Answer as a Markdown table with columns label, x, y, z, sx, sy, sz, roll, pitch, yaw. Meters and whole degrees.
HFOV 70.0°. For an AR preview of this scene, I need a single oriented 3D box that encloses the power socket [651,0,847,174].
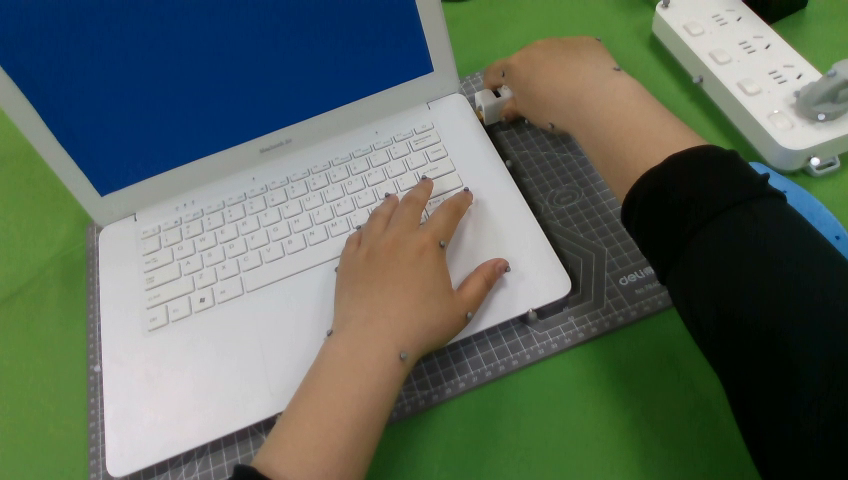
| label | x | y | z | sx | sy | sz | roll | pitch | yaw |
| --- | --- | --- | --- | --- | --- | --- | --- | --- | --- |
| power socket | 0.272 | -0.146 | 0.512 | 0.072 | 0.033 | 0.224 | -20 | 54 | 0 |

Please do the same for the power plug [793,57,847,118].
| label | x | y | z | sx | sy | sz | roll | pitch | yaw |
| --- | --- | --- | --- | --- | --- | --- | --- | --- | --- |
| power plug | 0.317 | -0.110 | 0.453 | 0.072 | 0.053 | 0.035 | -10 | 57 | 4 |

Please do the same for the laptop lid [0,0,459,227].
| label | x | y | z | sx | sy | sz | roll | pitch | yaw |
| --- | --- | --- | --- | --- | --- | --- | --- | --- | --- |
| laptop lid | -0.158 | -0.156 | 0.482 | 0.357 | 0.244 | 0.013 | -23 | 41 | -2 |

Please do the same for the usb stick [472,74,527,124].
| label | x | y | z | sx | sy | sz | roll | pitch | yaw |
| --- | --- | --- | --- | --- | --- | --- | --- | --- | --- |
| usb stick | 0.060 | -0.122 | 0.537 | 0.059 | 0.027 | 0.021 | -25 | 53 | 1 |

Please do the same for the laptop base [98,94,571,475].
| label | x | y | z | sx | sy | sz | roll | pitch | yaw |
| --- | --- | --- | --- | --- | --- | --- | --- | --- | --- |
| laptop base | -0.090 | 0.016 | 0.493 | 0.354 | 0.023 | 0.233 | -22 | 57 | -3 |

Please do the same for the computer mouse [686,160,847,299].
| label | x | y | z | sx | sy | sz | roll | pitch | yaw |
| --- | --- | --- | --- | --- | --- | --- | --- | --- | --- |
| computer mouse | 0.241 | -0.015 | 0.426 | 0.063 | 0.041 | 0.116 | -22 | 49 | -1 |
